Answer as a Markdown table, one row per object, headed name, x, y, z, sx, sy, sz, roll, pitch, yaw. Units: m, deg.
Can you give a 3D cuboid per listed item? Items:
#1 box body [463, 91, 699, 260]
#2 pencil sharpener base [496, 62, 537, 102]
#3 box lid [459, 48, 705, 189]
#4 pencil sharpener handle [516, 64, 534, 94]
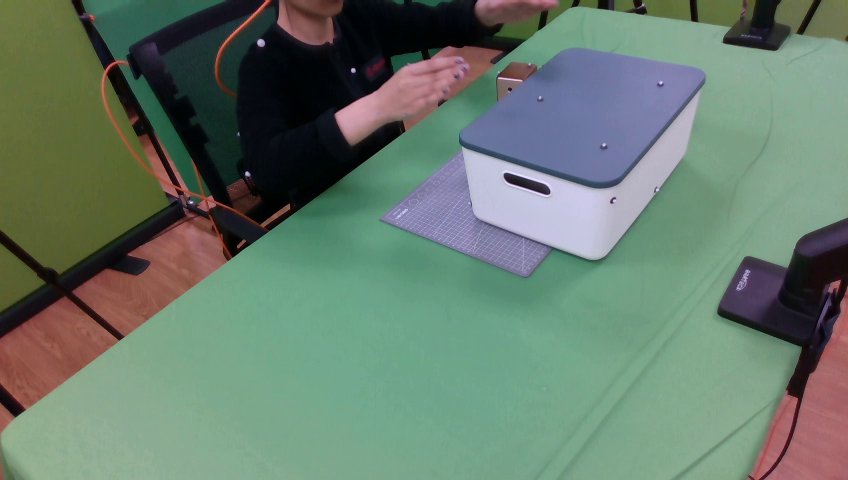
| name | x | y | z | sx | sy | sz | roll | pitch | yaw |
| --- | --- | --- | --- | --- | --- | --- | --- | --- | --- |
| box body | 0.264 | -0.153 | 1.000 | 0.252 | 0.161 | 0.365 | 22 | 49 | 32 |
| pencil sharpener base | 0.190 | -0.296 | 1.225 | 0.061 | 0.107 | 0.077 | 14 | 45 | 27 |
| box lid | 0.256 | -0.210 | 0.953 | 0.261 | 0.015 | 0.372 | 23 | 49 | 31 |
| pencil sharpener handle | 0.214 | -0.337 | 1.249 | 0.036 | 0.068 | 0.031 | 12 | 44 | 28 |
